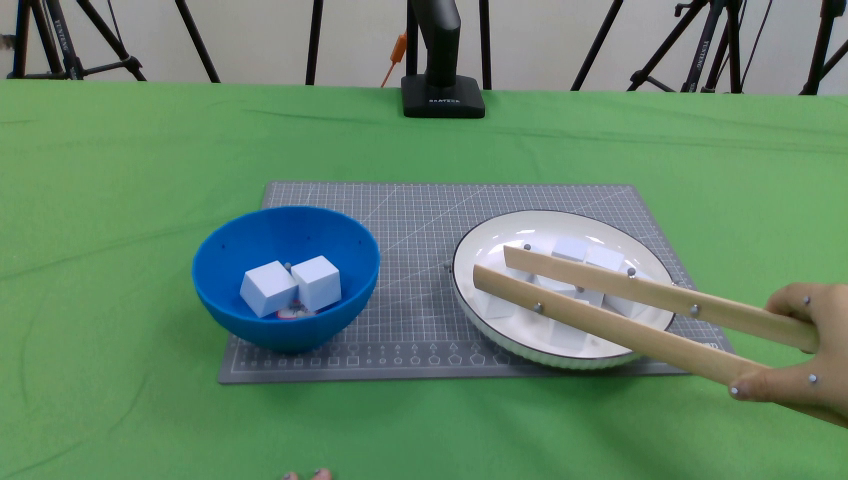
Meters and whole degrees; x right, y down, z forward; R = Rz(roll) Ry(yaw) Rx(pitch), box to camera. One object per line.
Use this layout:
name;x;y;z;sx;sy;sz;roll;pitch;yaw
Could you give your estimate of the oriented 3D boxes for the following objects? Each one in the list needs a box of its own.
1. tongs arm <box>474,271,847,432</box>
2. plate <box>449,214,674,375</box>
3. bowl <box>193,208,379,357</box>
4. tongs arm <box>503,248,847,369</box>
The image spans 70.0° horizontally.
tongs arm;0.194;0.079;0.407;0.384;0.028;0.028;16;33;36
plate;0.126;0.050;0.572;0.208;0.039;0.205;3;38;-2
bowl;-0.113;0.046;0.520;0.151;0.077;0.150;3;38;-2
tongs arm;0.212;0.066;0.425;0.382;0.027;0.051;15;36;34
